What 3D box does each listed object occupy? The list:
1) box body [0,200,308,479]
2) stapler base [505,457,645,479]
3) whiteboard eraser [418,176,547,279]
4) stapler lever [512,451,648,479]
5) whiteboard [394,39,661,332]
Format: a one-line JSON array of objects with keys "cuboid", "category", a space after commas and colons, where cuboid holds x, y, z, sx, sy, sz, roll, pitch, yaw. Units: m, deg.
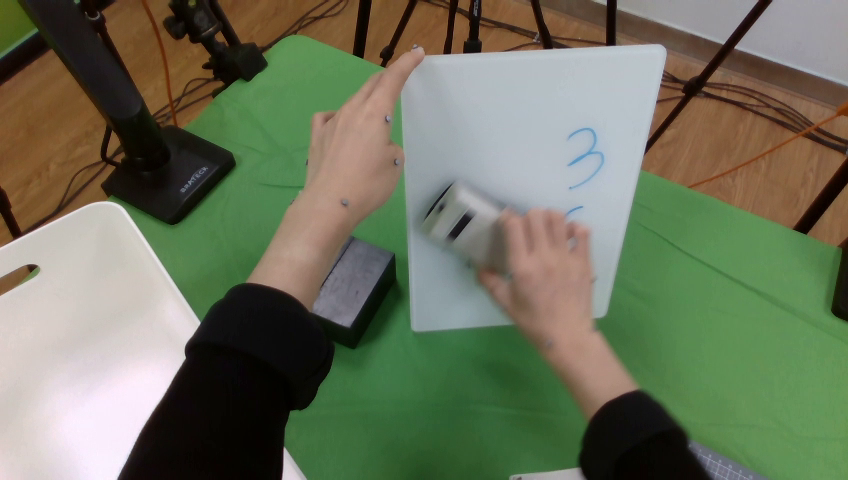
[{"cuboid": [-0.271, 0.179, 0.495, 0.254, 0.162, 0.361, -35, 64, -21], "category": "box body"}, {"cuboid": [0.142, 0.224, 0.560, 0.130, 0.024, 0.041, -6, 53, -2], "category": "stapler base"}, {"cuboid": [0.054, -0.011, 0.553, 0.113, 0.056, 0.041, 28, 18, -25], "category": "whiteboard eraser"}, {"cuboid": [0.139, 0.210, 0.539, 0.118, 0.040, 0.026, -6, 53, -2], "category": "stapler lever"}, {"cuboid": [0.081, -0.071, 0.620, 0.217, 0.308, 0.142, -3, 38, -3], "category": "whiteboard"}]
